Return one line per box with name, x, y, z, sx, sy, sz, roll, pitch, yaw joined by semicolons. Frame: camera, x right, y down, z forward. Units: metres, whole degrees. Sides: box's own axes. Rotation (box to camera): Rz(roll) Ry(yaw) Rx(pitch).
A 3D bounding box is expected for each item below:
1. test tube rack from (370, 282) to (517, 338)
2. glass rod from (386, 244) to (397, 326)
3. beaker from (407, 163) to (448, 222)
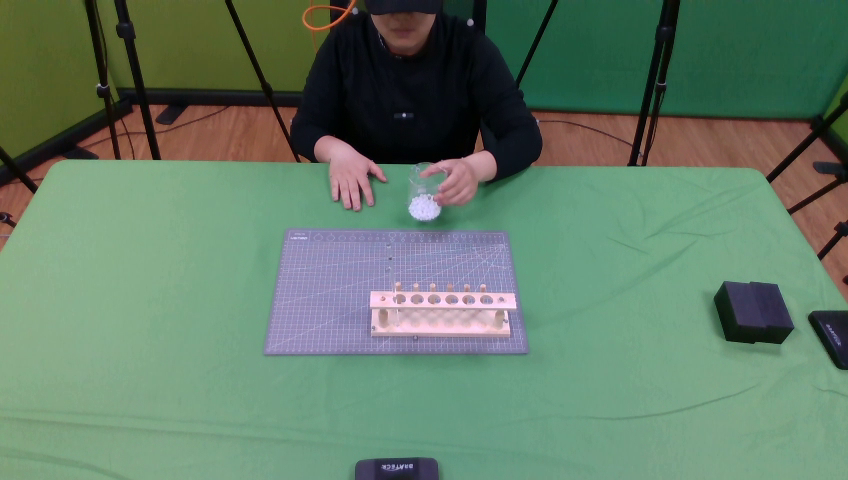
test tube rack;0.030;0.116;1.041;0.242;0.085;0.066;1;46;-3
glass rod;-0.052;0.077;0.979;0.008;0.201;0.008;-1;45;1
beaker;0.005;-0.092;1.197;0.084;0.101;0.073;-17;52;-19
